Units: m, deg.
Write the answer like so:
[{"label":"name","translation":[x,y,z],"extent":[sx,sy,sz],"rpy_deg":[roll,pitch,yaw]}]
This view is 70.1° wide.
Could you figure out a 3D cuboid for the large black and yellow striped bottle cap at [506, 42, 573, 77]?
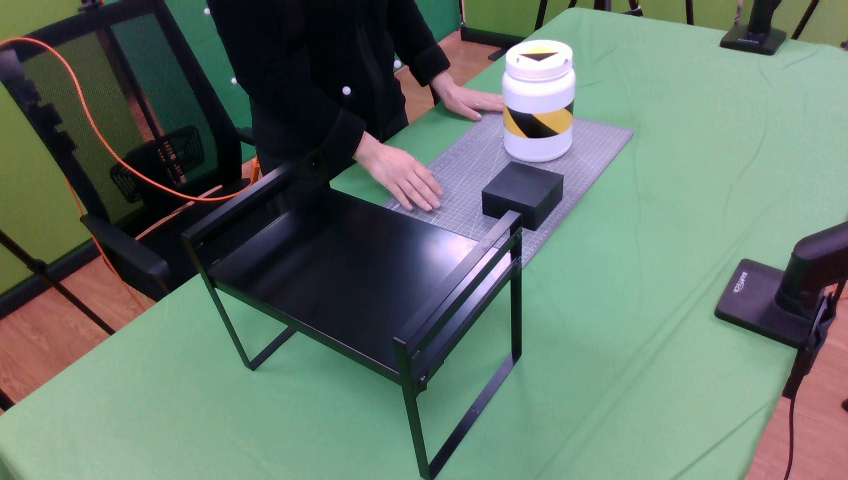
[{"label":"large black and yellow striped bottle cap","translation":[0.201,-0.317,1.056],"extent":[0.115,0.019,0.114],"rpy_deg":[-3,39,3]}]

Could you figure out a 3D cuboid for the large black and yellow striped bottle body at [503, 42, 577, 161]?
[{"label":"large black and yellow striped bottle body","translation":[0.212,-0.253,1.110],"extent":[0.131,0.185,0.130],"rpy_deg":[-5,41,5]}]
